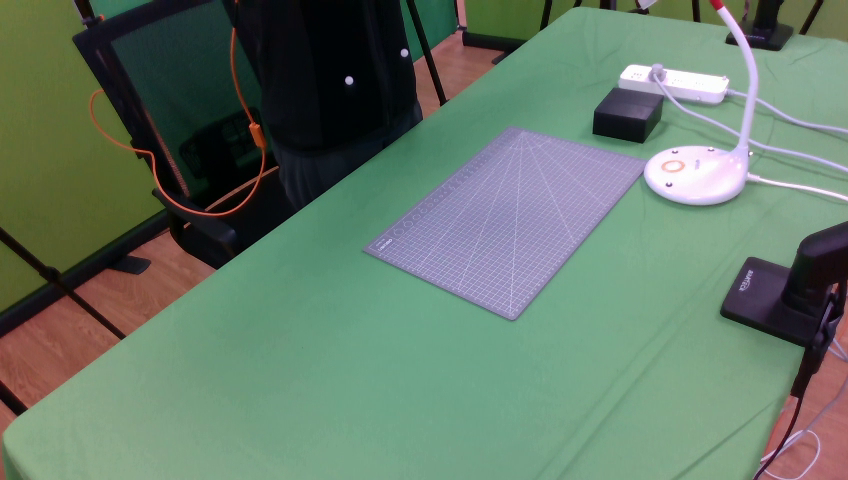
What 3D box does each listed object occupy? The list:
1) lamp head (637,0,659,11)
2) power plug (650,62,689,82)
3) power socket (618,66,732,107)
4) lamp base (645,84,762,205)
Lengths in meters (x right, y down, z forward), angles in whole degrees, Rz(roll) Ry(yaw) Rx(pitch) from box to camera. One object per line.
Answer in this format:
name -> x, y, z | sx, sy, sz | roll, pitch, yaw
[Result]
lamp head -> 0.330, -0.391, 0.827 | 0.122, 0.113, 0.112 | -21, 35, 25
power plug -> 0.504, -0.339, 1.247 | 0.072, 0.053, 0.035 | 9, 58, 12
power socket -> 0.517, -0.322, 1.259 | 0.225, 0.033, 0.072 | 19, 49, 29
lamp base -> 0.461, -0.170, 0.975 | 0.179, 0.181, 0.160 | 3, 41, 11
